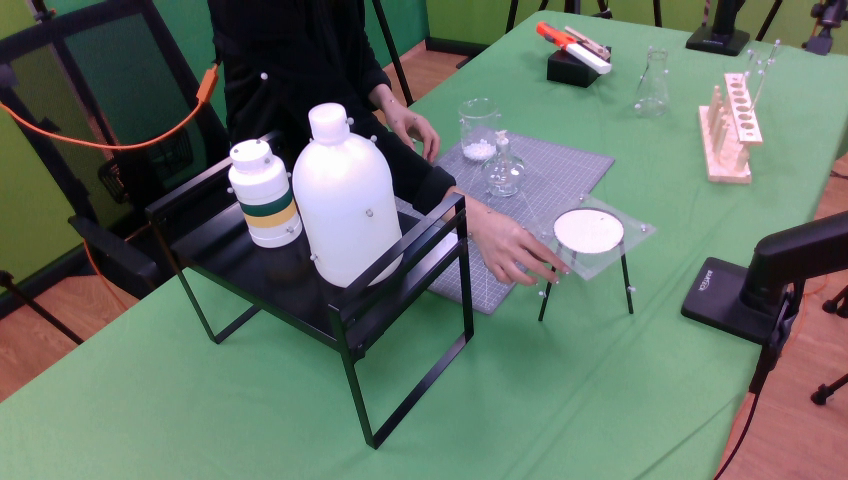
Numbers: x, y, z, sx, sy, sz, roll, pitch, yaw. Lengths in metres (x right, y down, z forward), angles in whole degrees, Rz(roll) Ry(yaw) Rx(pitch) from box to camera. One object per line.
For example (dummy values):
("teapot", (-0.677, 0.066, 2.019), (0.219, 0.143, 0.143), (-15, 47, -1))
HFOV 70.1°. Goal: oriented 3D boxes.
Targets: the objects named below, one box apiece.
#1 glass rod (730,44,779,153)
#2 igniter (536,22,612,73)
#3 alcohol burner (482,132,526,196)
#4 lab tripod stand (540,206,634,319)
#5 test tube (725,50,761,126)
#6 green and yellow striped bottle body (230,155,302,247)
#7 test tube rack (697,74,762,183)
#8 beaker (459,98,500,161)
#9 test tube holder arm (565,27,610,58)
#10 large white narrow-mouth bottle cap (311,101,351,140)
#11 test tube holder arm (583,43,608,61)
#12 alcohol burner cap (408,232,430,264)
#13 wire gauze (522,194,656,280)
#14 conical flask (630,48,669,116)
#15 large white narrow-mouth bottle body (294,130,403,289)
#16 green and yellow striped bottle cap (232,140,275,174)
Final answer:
("glass rod", (0.555, -0.234, 1.020), (0.008, 0.200, 0.008), (2, 40, -1))
("igniter", (0.330, -0.439, 1.366), (0.057, 0.025, 0.274), (-12, 41, -20))
("alcohol burner", (0.137, -0.136, 1.042), (0.078, 0.119, 0.077), (-4, 43, 4))
("lab tripod stand", (0.218, 0.034, 0.821), (0.148, 0.132, 0.147), (-4, 42, 4))
("test tube", (0.570, -0.269, 1.086), (0.017, 0.151, 0.017), (-1, 45, 2))
("green and yellow striped bottle body", (-0.188, -0.055, 0.714), (0.063, 0.120, 0.063), (-4, 41, 4))
("test tube rack", (0.547, -0.208, 1.094), (0.066, 0.085, 0.242), (6, 42, 14))
("beaker", (0.104, -0.208, 1.142), (0.074, 0.101, 0.083), (-20, 41, -15))
("test tube holder arm", (0.369, -0.450, 1.373), (0.013, 0.015, 0.177), (-39, 41, 10))
("large white narrow-mouth bottle cap", (-0.089, -0.114, 0.578), (0.038, 0.024, 0.037), (-4, 39, 3))
("test tube holder arm", (0.379, -0.420, 1.341), (0.010, 0.015, 0.087), (-39, 41, 10))
("alcohol burner cap", (-0.010, 0.010, 0.947), (0.034, 0.048, 0.033), (-4, 41, 4))
("wire gauze", (0.208, -0.012, 0.772), (0.122, 0.011, 0.124), (-27, 44, -21))
("conical flask", (0.456, -0.317, 1.205), (0.075, 0.122, 0.075), (-4, 41, 4))
("large white narrow-mouth bottle body", (-0.082, -0.047, 0.634), (0.102, 0.195, 0.101), (-4, 40, 4))
("green and yellow striped bottle cap", (-0.192, -0.094, 0.680), (0.045, 0.020, 0.045), (-5, 39, 5))
